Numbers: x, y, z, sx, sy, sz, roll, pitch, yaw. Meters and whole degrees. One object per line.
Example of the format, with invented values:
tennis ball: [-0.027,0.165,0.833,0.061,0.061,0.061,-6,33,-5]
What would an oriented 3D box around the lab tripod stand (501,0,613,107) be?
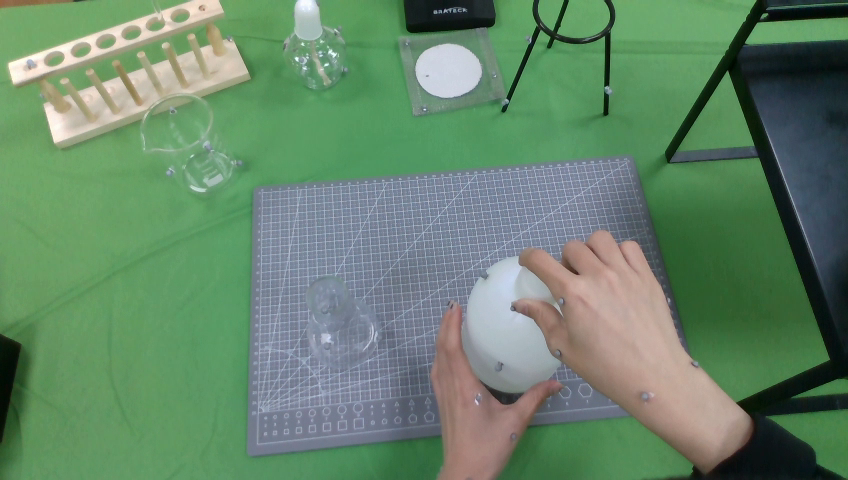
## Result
lab tripod stand: [0.163,-0.226,0.709,0.148,0.132,0.147,1,65,-1]

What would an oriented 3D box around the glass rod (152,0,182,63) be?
glass rod: [-0.302,-0.270,0.680,0.008,0.201,0.008,2,63,-4]

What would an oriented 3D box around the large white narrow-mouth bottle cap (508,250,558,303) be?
large white narrow-mouth bottle cap: [0.083,0.028,0.463,0.038,0.024,0.037,0,65,1]

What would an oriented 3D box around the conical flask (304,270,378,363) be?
conical flask: [-0.085,0.068,0.578,0.075,0.123,0.074,0,65,0]

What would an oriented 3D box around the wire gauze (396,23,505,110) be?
wire gauze: [0.032,-0.227,0.778,0.121,0.011,0.124,-9,66,-6]

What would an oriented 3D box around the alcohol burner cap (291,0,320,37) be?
alcohol burner cap: [-0.136,-0.262,0.695,0.034,0.048,0.033,4,64,-8]

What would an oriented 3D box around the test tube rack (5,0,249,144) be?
test tube rack: [-0.345,-0.207,0.724,0.242,0.086,0.066,-24,68,-11]

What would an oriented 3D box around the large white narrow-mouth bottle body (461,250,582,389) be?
large white narrow-mouth bottle body: [0.086,0.066,0.540,0.102,0.196,0.101,0,65,1]

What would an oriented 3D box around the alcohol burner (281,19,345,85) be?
alcohol burner: [-0.136,-0.245,0.728,0.078,0.120,0.077,0,63,-1]

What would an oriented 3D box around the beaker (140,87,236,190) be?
beaker: [-0.258,-0.105,0.671,0.073,0.101,0.084,39,71,17]
